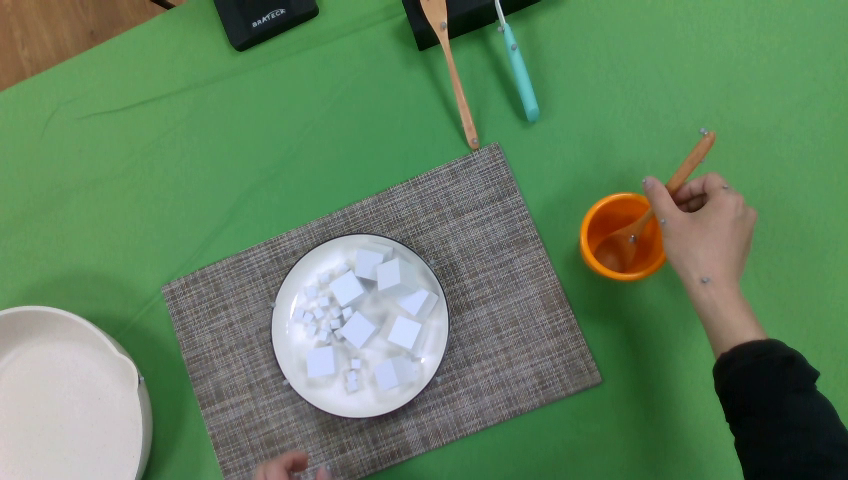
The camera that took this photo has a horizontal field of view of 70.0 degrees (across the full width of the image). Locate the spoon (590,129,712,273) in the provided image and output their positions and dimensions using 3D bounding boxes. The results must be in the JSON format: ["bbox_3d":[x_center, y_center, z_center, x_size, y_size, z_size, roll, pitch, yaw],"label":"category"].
[{"bbox_3d":[0.231,-0.034,0.622,0.041,0.195,0.021,33,44,6],"label":"spoon"}]

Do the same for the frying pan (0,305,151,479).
[{"bbox_3d":[-0.404,0.309,0.679,0.307,0.103,0.484,-30,72,3],"label":"frying pan"}]

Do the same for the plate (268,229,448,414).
[{"bbox_3d":[-0.074,0.092,0.696,0.207,0.039,0.207,-1,83,7],"label":"plate"}]

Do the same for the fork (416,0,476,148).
[{"bbox_3d":[0.027,-0.207,0.701,0.028,0.018,0.208,-18,100,-3],"label":"fork"}]

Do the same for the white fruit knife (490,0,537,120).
[{"bbox_3d":[0.091,-0.239,0.697,0.016,0.027,0.208,-20,96,3],"label":"white fruit knife"}]
